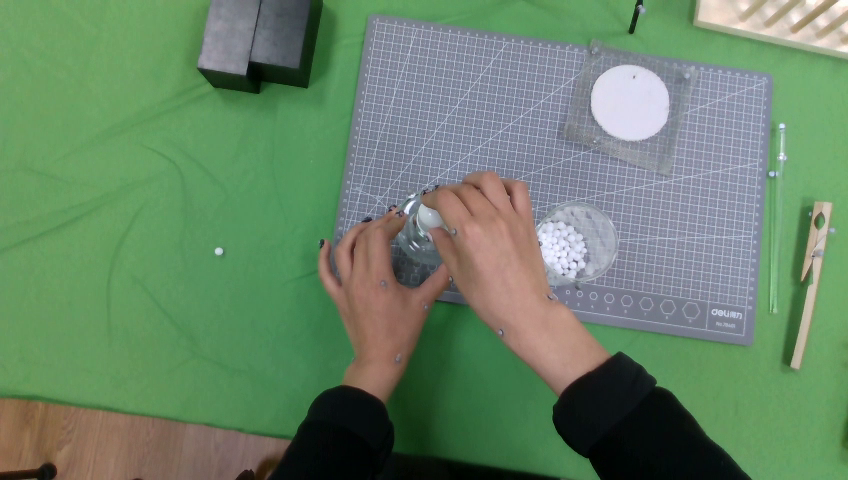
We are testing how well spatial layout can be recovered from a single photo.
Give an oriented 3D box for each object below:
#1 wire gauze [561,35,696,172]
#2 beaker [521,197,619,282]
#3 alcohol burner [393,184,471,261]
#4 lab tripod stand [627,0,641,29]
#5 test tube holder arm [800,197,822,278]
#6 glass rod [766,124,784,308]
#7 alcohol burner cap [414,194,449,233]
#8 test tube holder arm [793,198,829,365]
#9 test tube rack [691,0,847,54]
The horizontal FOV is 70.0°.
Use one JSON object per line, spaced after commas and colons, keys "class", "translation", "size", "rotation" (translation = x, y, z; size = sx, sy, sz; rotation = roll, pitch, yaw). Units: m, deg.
{"class": "wire gauze", "translation": [0.222, -0.150, 0.657], "size": [0.125, 0.011, 0.121], "rotation": [20, 85, 0]}
{"class": "beaker", "translation": [0.134, 0.004, 0.592], "size": [0.084, 0.100, 0.074], "rotation": [1, 83, 0]}
{"class": "alcohol burner", "translation": [0.007, -0.020, 0.585], "size": [0.078, 0.119, 0.077], "rotation": [0, 82, 1]}
{"class": "lab tripod stand", "translation": [0.179, -0.294, 0.612], "size": [0.148, 0.131, 0.148], "rotation": [0, 85, 0]}
{"class": "test tube holder arm", "translation": [0.411, -0.002, 0.643], "size": [0.010, 0.015, 0.087], "rotation": [8, 83, 36]}
{"class": "glass rod", "translation": [0.376, -0.027, 0.649], "size": [0.008, 0.008, 0.199], "rotation": [6, 86, -1]}
{"class": "alcohol burner cap", "translation": [0.008, -0.026, 0.544], "size": [0.034, 0.048, 0.033], "rotation": [0, 81, -1]}
{"class": "test tube holder arm", "translation": [0.407, 0.043, 0.635], "size": [0.013, 0.015, 0.178], "rotation": [7, 82, 36]}
{"class": "test tube rack", "translation": [0.423, -0.256, 0.637], "size": [0.242, 0.085, 0.066], "rotation": [12, 83, 0]}
